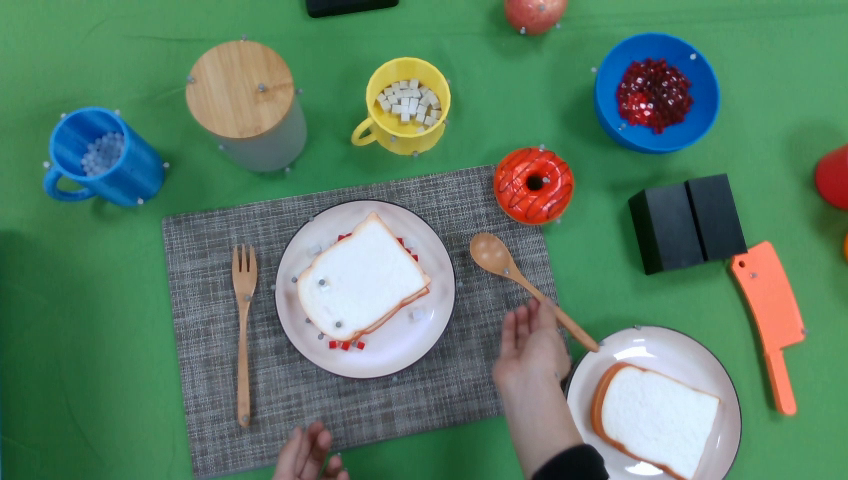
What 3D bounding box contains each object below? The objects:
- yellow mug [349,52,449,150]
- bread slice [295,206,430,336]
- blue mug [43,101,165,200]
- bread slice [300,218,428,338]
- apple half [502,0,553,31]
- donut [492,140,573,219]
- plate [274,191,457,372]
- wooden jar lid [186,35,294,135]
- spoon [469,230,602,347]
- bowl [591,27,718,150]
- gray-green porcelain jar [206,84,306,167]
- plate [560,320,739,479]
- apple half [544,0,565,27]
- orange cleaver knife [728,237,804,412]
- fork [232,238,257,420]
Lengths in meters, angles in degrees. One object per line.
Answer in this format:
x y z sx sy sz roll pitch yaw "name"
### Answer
-0.034 -0.159 0.733 0.131 0.064 0.099 -34 84 -8 "yellow mug"
-0.074 0.043 0.681 0.134 0.018 0.106 -41 82 -11 "bread slice"
-0.365 -0.088 0.679 0.116 0.106 0.082 -35 83 -8 "blue mug"
-0.076 0.051 0.707 0.131 0.019 0.104 -37 85 -10 "bread slice"
0.121 -0.290 0.760 0.033 0.081 0.081 -43 85 -14 "apple half"
0.131 -0.073 0.736 0.099 0.048 0.098 1 81 -4 "donut"
-0.067 0.048 0.706 0.208 0.039 0.207 1 80 -4 "plate"
-0.189 -0.158 0.629 0.108 0.021 0.108 1 78 -3 "wooden jar lid"
0.126 0.056 0.696 0.041 0.022 0.192 -42 67 -13 "spoon"
0.272 -0.174 0.749 0.151 0.077 0.151 1 81 -3 "bowl"
-0.193 -0.146 0.690 0.106 0.127 0.105 1 80 -3 "gray-green porcelain jar"
0.258 0.198 0.705 0.209 0.038 0.208 1 80 -3 "plate"
0.148 -0.316 0.768 0.053 0.075 0.080 -42 81 -15 "apple half"
0.429 0.100 0.743 0.077 0.012 0.210 -8 79 -12 "orange cleaver knife"
-0.207 0.100 0.697 0.028 0.018 0.206 0 78 -13 "fork"
